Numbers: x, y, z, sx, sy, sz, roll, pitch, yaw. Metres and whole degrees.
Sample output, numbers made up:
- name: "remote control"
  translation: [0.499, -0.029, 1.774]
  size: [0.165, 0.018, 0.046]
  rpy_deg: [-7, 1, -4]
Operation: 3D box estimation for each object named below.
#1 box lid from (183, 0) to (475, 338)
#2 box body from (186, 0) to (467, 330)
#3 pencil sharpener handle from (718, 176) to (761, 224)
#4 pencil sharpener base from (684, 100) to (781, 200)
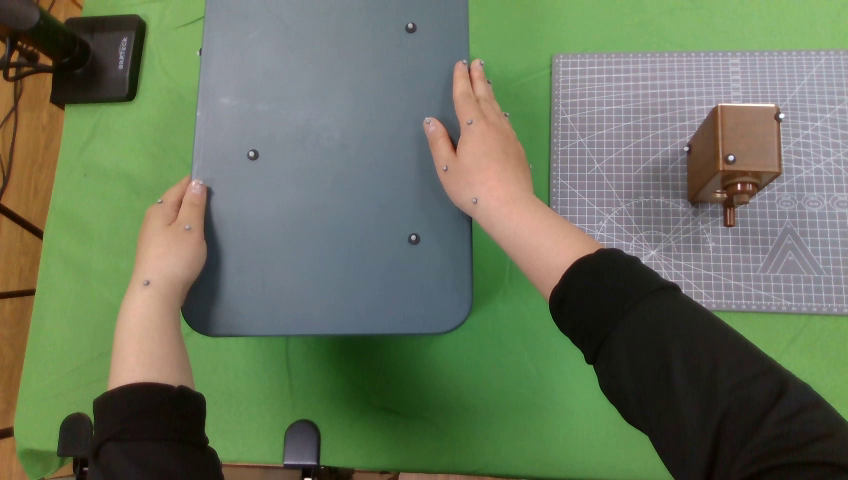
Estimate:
- name: "box lid"
  translation: [-0.087, -0.097, 0.565]
  size: [0.263, 0.015, 0.370]
  rpy_deg: [-2, 79, 5]
- name: "box body"
  translation: [-0.081, -0.085, 0.644]
  size: [0.254, 0.161, 0.362]
  rpy_deg: [-2, 77, 7]
- name: "pencil sharpener handle"
  translation: [0.307, -0.038, 0.596]
  size: [0.036, 0.068, 0.030]
  rpy_deg: [1, 78, 14]
- name: "pencil sharpener base"
  translation: [0.310, -0.085, 0.618]
  size: [0.061, 0.107, 0.076]
  rpy_deg: [2, 78, 8]
